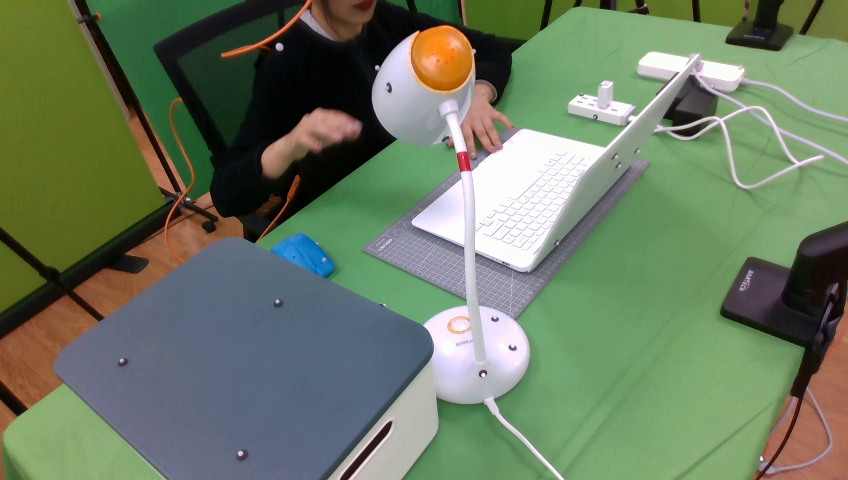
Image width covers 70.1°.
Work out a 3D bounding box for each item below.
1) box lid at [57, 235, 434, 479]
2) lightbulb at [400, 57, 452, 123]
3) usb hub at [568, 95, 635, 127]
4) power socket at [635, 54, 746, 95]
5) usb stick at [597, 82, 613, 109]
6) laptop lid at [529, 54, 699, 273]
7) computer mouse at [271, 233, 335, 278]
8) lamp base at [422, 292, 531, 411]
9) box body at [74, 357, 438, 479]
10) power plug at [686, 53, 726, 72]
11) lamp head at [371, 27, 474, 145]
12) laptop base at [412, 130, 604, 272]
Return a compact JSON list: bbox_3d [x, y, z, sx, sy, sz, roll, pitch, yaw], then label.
[{"bbox_3d":[-0.198,0.123,0.653,0.368,0.015,0.264,22,49,32],"label":"box lid"},{"bbox_3d":[0.003,-0.169,0.668,0.059,0.108,0.059,0,79,-1],"label":"lightbulb"},{"bbox_3d":[0.360,-0.263,1.228,0.124,0.025,0.049,25,49,33],"label":"usb hub"},{"bbox_3d":[0.564,-0.357,1.293,0.225,0.033,0.072,24,51,33],"label":"power socket"},{"bbox_3d":[0.360,-0.281,1.204,0.021,0.059,0.027,23,49,33],"label":"usb stick"},{"bbox_3d":[0.284,-0.113,0.897,0.013,0.242,0.358,38,55,16],"label":"laptop lid"},{"bbox_3d":[-0.198,0.028,0.981,0.063,0.041,0.116,-31,48,-27],"label":"computer mouse"},{"bbox_3d":[0.054,0.095,0.740,0.161,0.181,0.177,-19,43,-11],"label":"lamp base"},{"bbox_3d":[-0.189,0.179,0.702,0.361,0.161,0.255,22,49,32],"label":"box body"},{"bbox_3d":[0.584,-0.361,1.260,0.072,0.053,0.035,14,55,16],"label":"power plug"},{"bbox_3d":[0.007,-0.167,0.644,0.113,0.112,0.122,-22,2,-14],"label":"lamp head"},{"bbox_3d":[0.176,-0.083,1.055,0.233,0.023,0.355,21,48,36],"label":"laptop base"}]
